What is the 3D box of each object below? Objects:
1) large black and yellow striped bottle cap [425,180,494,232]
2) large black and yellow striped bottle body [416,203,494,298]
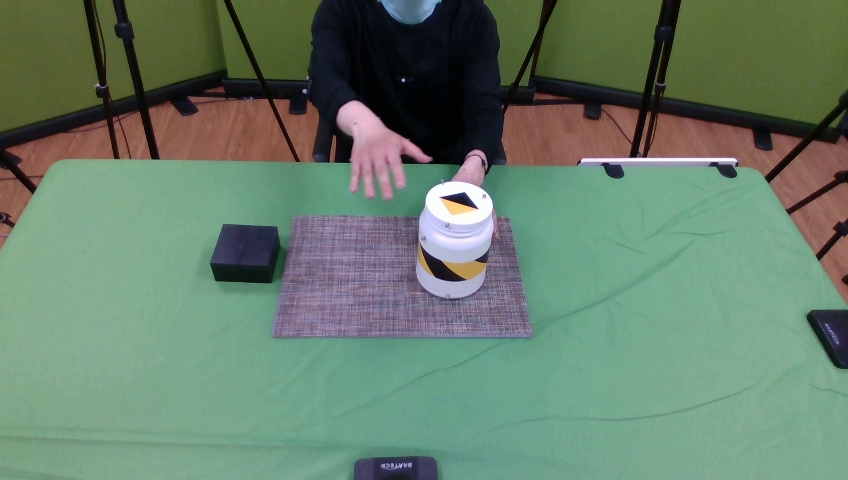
[{"bbox_3d":[0.060,-0.059,1.017,0.115,0.019,0.114,2,44,-2],"label":"large black and yellow striped bottle cap"},{"bbox_3d":[0.054,0.001,1.080,0.131,0.185,0.130,2,46,-2],"label":"large black and yellow striped bottle body"}]
